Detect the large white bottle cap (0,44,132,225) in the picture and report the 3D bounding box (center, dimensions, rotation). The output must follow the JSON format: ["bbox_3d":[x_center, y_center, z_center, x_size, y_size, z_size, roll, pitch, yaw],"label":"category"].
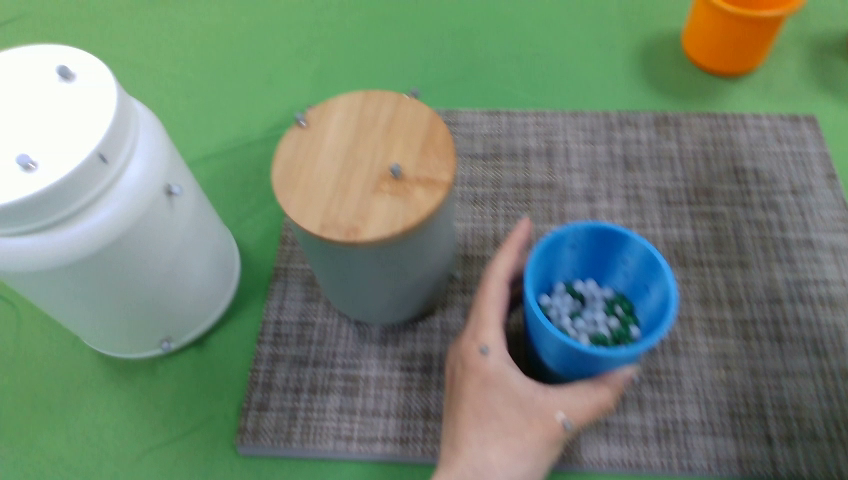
[{"bbox_3d":[-0.216,-0.059,0.322,0.115,0.018,0.114,-1,59,3],"label":"large white bottle cap"}]

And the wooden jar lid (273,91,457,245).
[{"bbox_3d":[-0.034,-0.042,0.358,0.108,0.021,0.107,-3,60,5],"label":"wooden jar lid"}]

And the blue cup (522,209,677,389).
[{"bbox_3d":[0.101,0.050,0.384,0.092,0.101,0.092,0,58,1],"label":"blue cup"}]

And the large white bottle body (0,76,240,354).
[{"bbox_3d":[-0.211,-0.016,0.395,0.130,0.186,0.129,-1,59,2],"label":"large white bottle body"}]

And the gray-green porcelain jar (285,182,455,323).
[{"bbox_3d":[-0.031,-0.009,0.412,0.106,0.127,0.105,-1,59,3],"label":"gray-green porcelain jar"}]
